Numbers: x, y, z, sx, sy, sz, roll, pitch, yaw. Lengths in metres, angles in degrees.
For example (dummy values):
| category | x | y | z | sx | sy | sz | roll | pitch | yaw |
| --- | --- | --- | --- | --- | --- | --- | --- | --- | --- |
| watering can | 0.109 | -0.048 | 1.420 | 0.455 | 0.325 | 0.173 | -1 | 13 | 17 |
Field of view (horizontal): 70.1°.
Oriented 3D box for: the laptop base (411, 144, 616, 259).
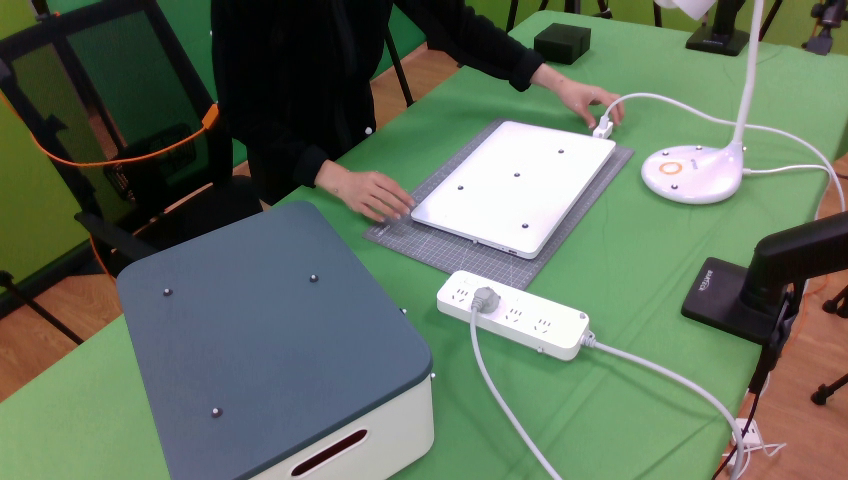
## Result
| category | x | y | z | sx | sy | sz | roll | pitch | yaw |
| --- | --- | --- | --- | --- | --- | --- | --- | --- | --- |
| laptop base | 0.168 | -0.101 | 1.074 | 0.234 | 0.023 | 0.355 | 17 | 46 | 30 |

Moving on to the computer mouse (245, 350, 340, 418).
| category | x | y | z | sx | sy | sz | roll | pitch | yaw |
| --- | --- | --- | --- | --- | --- | --- | --- | --- | --- |
| computer mouse | -0.165 | 0.173 | 0.754 | 0.118 | 0.041 | 0.062 | -18 | 34 | -18 |

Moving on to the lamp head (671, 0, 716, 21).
| category | x | y | z | sx | sy | sz | roll | pitch | yaw |
| --- | --- | --- | --- | --- | --- | --- | --- | --- | --- |
| lamp head | 0.375 | -0.373 | 0.807 | 0.122 | 0.113 | 0.112 | -40 | 27 | 32 |

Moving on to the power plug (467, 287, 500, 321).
| category | x | y | z | sx | sy | sz | roll | pitch | yaw |
| --- | --- | --- | --- | --- | --- | --- | --- | --- | --- |
| power plug | 0.073 | 0.092 | 0.814 | 0.035 | 0.053 | 0.073 | 29 | 54 | 34 |

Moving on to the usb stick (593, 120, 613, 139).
| category | x | y | z | sx | sy | sz | roll | pitch | yaw |
| --- | --- | --- | --- | --- | --- | --- | --- | --- | --- |
| usb stick | 0.336 | -0.201 | 1.147 | 0.021 | 0.027 | 0.059 | 27 | 53 | 25 |

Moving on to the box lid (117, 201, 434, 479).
| category | x | y | z | sx | sy | sz | roll | pitch | yaw |
| --- | --- | --- | --- | --- | --- | --- | --- | --- | --- |
| box lid | -0.182 | 0.087 | 0.675 | 0.264 | 0.015 | 0.368 | -25 | 42 | -20 |

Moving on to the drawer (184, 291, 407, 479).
| category | x | y | z | sx | sy | sz | roll | pitch | yaw |
| --- | --- | --- | --- | --- | --- | --- | --- | --- | --- |
| drawer | -0.155 | 0.179 | 0.719 | 0.195 | 0.073 | 0.210 | -27 | 40 | -21 |

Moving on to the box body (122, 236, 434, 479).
| category | x | y | z | sx | sy | sz | roll | pitch | yaw |
| --- | --- | --- | --- | --- | --- | --- | --- | --- | --- |
| box body | -0.175 | 0.142 | 0.725 | 0.255 | 0.161 | 0.360 | -25 | 43 | -20 |

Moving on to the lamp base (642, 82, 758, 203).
| category | x | y | z | sx | sy | sz | roll | pitch | yaw |
| --- | --- | --- | --- | --- | --- | --- | --- | --- | --- |
| lamp base | 0.464 | -0.174 | 0.992 | 0.179 | 0.181 | 0.159 | -5 | 41 | -1 |

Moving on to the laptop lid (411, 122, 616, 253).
| category | x | y | z | sx | sy | sz | roll | pitch | yaw |
| --- | --- | --- | --- | --- | --- | --- | --- | --- | --- |
| laptop lid | 0.165 | -0.111 | 1.067 | 0.240 | 0.013 | 0.357 | 19 | 46 | 31 |

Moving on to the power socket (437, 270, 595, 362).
| category | x | y | z | sx | sy | sz | roll | pitch | yaw |
| --- | --- | --- | --- | --- | --- | --- | --- | --- | --- |
| power socket | 0.119 | 0.101 | 0.832 | 0.225 | 0.033 | 0.072 | 19 | 48 | 27 |
